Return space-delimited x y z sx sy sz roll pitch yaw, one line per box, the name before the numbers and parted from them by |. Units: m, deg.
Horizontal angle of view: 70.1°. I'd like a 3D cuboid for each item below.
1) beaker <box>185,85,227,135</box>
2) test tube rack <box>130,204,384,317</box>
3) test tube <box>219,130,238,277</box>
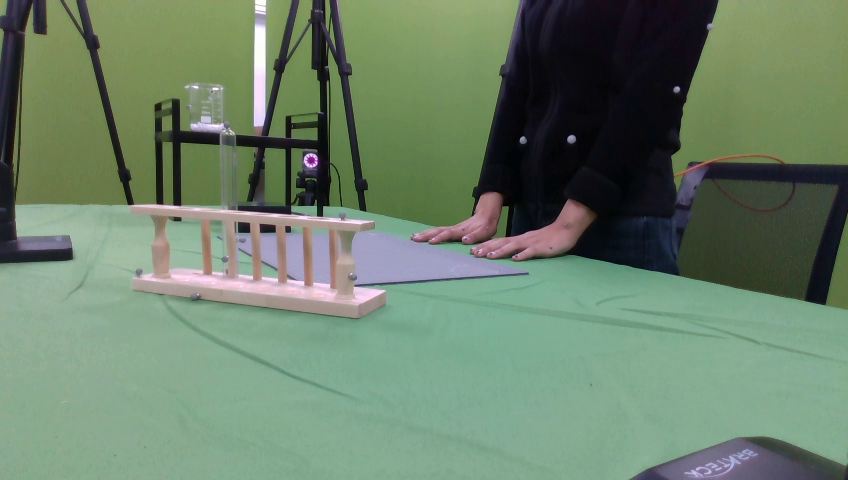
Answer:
beaker | -0.460 -0.275 1.282 0.084 0.100 0.073 -3 8 -27
test tube rack | -0.163 0.013 0.589 0.242 0.085 0.067 5 8 17
test tube | -0.198 -0.036 0.613 0.017 0.150 0.017 2 8 0
